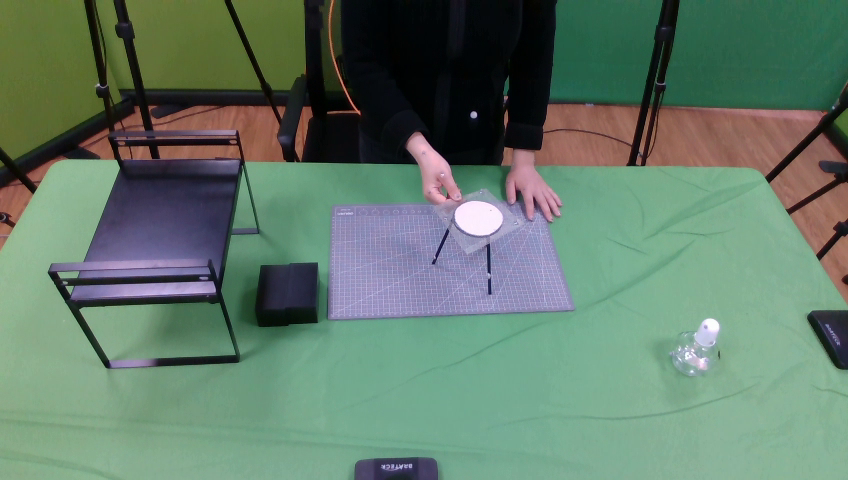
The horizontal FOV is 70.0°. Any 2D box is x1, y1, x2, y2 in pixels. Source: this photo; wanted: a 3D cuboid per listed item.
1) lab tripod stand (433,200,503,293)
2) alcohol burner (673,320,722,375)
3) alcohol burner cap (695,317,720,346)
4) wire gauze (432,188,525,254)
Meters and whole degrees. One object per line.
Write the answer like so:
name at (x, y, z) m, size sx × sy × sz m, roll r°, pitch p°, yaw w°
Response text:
lab tripod stand at (0.095, 0.006, 1.115) m, size 0.148 × 0.132 × 0.147 m, roll 3°, pitch 47°, yaw -3°
alcohol burner at (0.458, 0.170, 1.002) m, size 0.078 × 0.120 × 0.077 m, roll 1°, pitch 45°, yaw -1°
alcohol burner cap at (0.459, 0.146, 0.975) m, size 0.034 × 0.048 × 0.033 m, roll -3°, pitch 45°, yaw 3°
wire gauze at (0.095, -0.040, 1.065) m, size 0.121 × 0.011 × 0.124 m, roll -22°, pitch 51°, yaw -20°
